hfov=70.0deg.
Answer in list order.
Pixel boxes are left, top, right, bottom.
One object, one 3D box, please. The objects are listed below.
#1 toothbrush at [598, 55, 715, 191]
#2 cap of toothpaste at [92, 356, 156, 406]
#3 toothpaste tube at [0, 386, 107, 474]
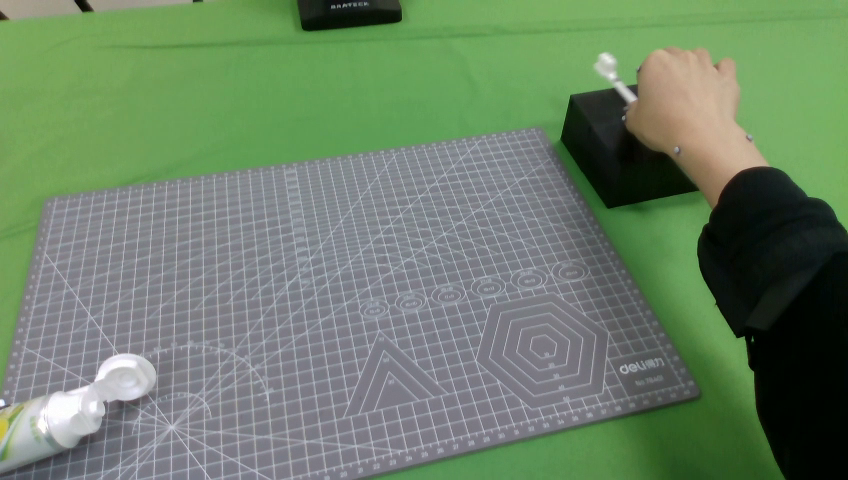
[{"bbox_3d":[0.195,-0.105,0.519,0.014,0.017,0.180,-6,49,-18],"label":"toothbrush"},{"bbox_3d":[-0.190,0.091,0.384,0.037,0.037,0.011,-13,24,-12],"label":"cap of toothpaste"},{"bbox_3d":[-0.272,0.125,0.359,0.165,0.035,0.054,-18,47,-6],"label":"toothpaste tube"}]
